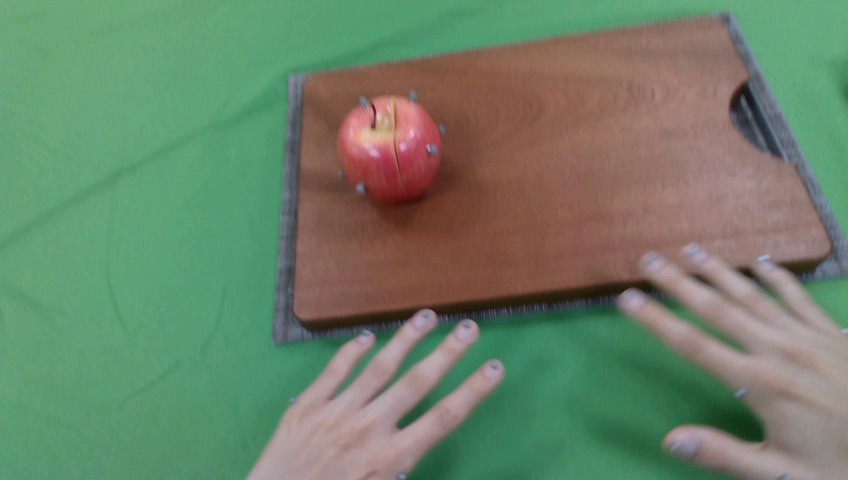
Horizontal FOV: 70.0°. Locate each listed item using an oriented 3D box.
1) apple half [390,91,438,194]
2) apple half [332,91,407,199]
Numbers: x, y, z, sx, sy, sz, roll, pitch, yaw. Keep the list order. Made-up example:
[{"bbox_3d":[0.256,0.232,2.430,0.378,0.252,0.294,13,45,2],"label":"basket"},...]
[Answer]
[{"bbox_3d":[-0.004,-0.076,0.477,0.033,0.082,0.080,-7,59,7],"label":"apple half"},{"bbox_3d":[-0.044,-0.071,0.480,0.053,0.075,0.080,-8,63,8],"label":"apple half"}]
